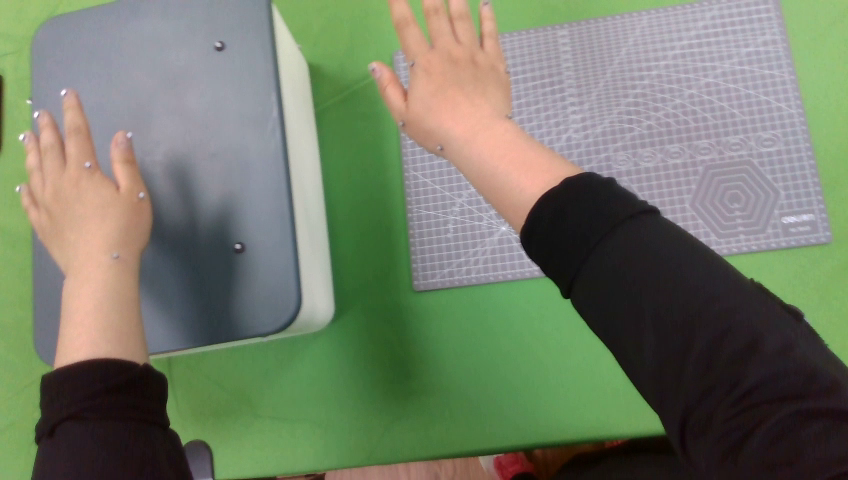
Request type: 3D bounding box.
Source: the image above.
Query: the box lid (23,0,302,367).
[{"bbox_3d":[-0.263,-0.078,0.589,0.263,0.015,0.369,-11,79,6],"label":"box lid"}]

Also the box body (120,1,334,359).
[{"bbox_3d":[-0.252,-0.062,0.661,0.254,0.161,0.362,-11,79,5],"label":"box body"}]
